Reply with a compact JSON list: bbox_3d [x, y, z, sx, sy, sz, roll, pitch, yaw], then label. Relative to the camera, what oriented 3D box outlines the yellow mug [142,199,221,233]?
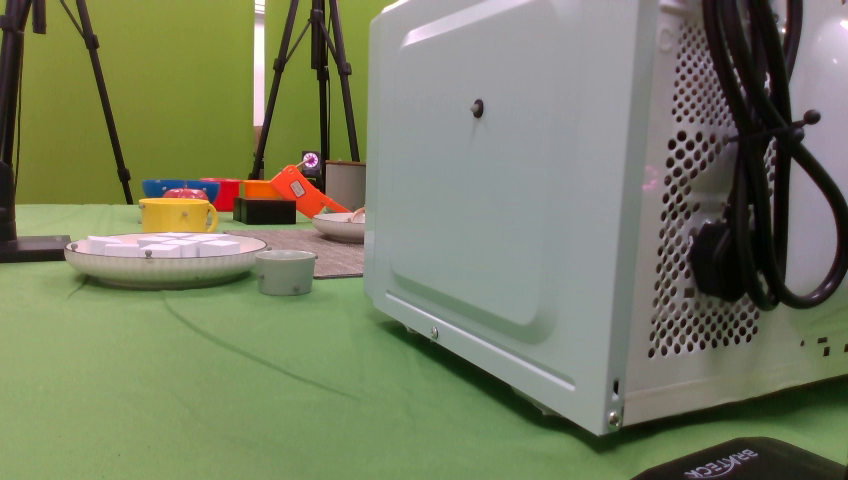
[{"bbox_3d":[-0.372,-0.030,0.948,0.099,0.064,0.131,6,7,30],"label":"yellow mug"}]

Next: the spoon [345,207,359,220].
[{"bbox_3d":[-0.126,-0.047,1.117,0.041,0.021,0.194,-1,18,14],"label":"spoon"}]

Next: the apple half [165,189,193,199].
[{"bbox_3d":[-0.441,-0.055,1.097,0.053,0.074,0.081,0,10,12],"label":"apple half"}]

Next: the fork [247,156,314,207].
[{"bbox_3d":[-0.360,-0.147,1.523,0.207,0.018,0.028,-43,16,-6],"label":"fork"}]

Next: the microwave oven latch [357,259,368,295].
[{"bbox_3d":[-0.019,0.031,0.530,0.079,0.029,0.030,-1,7,-27],"label":"microwave oven latch"}]

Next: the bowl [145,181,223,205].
[{"bbox_3d":[-0.499,-0.081,1.261,0.151,0.077,0.151,2,8,0],"label":"bowl"}]

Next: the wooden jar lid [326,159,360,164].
[{"bbox_3d":[-0.185,-0.187,1.481,0.108,0.020,0.108,4,6,0],"label":"wooden jar lid"}]

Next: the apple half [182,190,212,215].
[{"bbox_3d":[-0.402,-0.054,1.090,0.033,0.081,0.081,0,7,12],"label":"apple half"}]

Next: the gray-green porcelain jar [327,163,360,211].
[{"bbox_3d":[-0.187,-0.125,1.490,0.106,0.126,0.106,2,7,0],"label":"gray-green porcelain jar"}]

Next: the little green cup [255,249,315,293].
[{"bbox_3d":[-0.144,0.031,0.627,0.061,0.038,0.061,2,6,0],"label":"little green cup"}]

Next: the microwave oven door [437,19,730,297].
[{"bbox_3d":[0.181,-0.076,0.618,0.358,0.243,0.039,-2,9,-28],"label":"microwave oven door"}]

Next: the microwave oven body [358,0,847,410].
[{"bbox_3d":[0.210,-0.051,0.471,0.444,0.260,0.324,-1,7,-28],"label":"microwave oven body"}]

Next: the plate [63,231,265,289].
[{"bbox_3d":[-0.288,0.021,0.687,0.208,0.039,0.207,2,8,0],"label":"plate"}]

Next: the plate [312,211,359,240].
[{"bbox_3d":[-0.091,-0.026,1.063,0.209,0.038,0.209,2,7,0],"label":"plate"}]

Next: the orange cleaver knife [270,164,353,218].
[{"bbox_3d":[-0.240,-0.088,1.329,0.212,0.077,0.012,36,-9,-34],"label":"orange cleaver knife"}]
